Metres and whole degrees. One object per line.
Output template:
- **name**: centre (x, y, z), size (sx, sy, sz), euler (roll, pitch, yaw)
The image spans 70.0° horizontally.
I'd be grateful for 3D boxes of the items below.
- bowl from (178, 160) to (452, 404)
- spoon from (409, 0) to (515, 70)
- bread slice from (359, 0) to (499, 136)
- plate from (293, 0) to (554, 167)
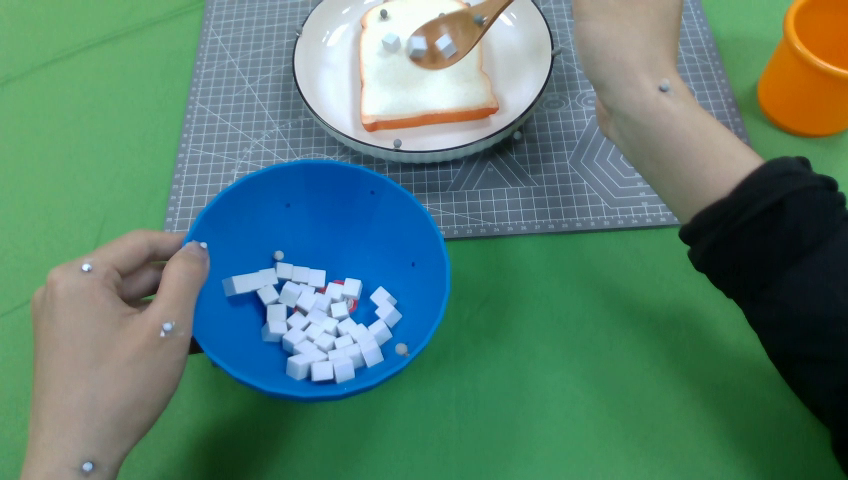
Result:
- **bowl**: centre (-0.063, 0.034, 0.370), size (0.152, 0.077, 0.150), euler (5, 59, -7)
- **spoon**: centre (0.071, -0.169, 0.401), size (0.193, 0.022, 0.041), euler (-25, 68, 30)
- **bread slice**: centre (-0.004, -0.146, 0.504), size (0.107, 0.018, 0.133), euler (-10, 63, -1)
- **plate**: centre (-0.001, -0.143, 0.499), size (0.209, 0.038, 0.207), euler (-1, 62, 3)
